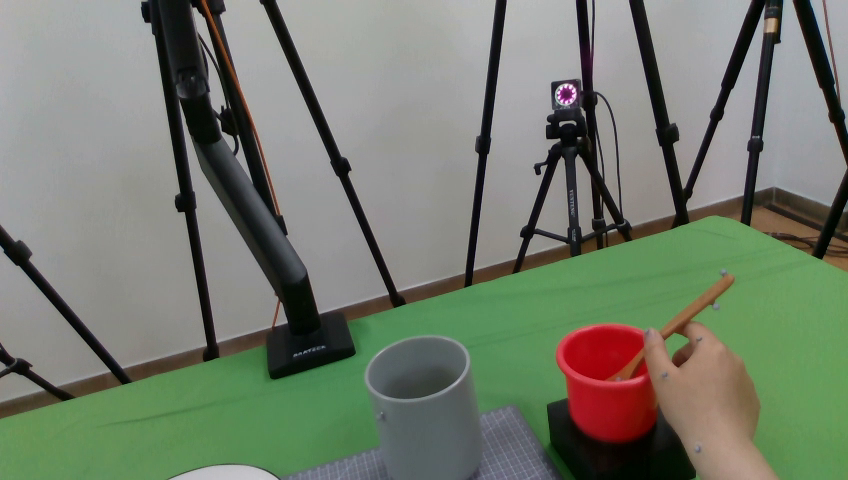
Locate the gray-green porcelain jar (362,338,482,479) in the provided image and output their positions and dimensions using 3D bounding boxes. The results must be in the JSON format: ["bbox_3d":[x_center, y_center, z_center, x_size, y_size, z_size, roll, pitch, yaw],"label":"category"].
[{"bbox_3d":[0.001,0.179,0.609,0.106,0.127,0.105,-8,24,4],"label":"gray-green porcelain jar"}]

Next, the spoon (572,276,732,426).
[{"bbox_3d":[0.208,0.104,0.557,0.022,0.194,0.041,33,18,-17],"label":"spoon"}]

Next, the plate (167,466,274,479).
[{"bbox_3d":[-0.217,0.294,0.546,0.207,0.039,0.206,-8,24,4],"label":"plate"}]
